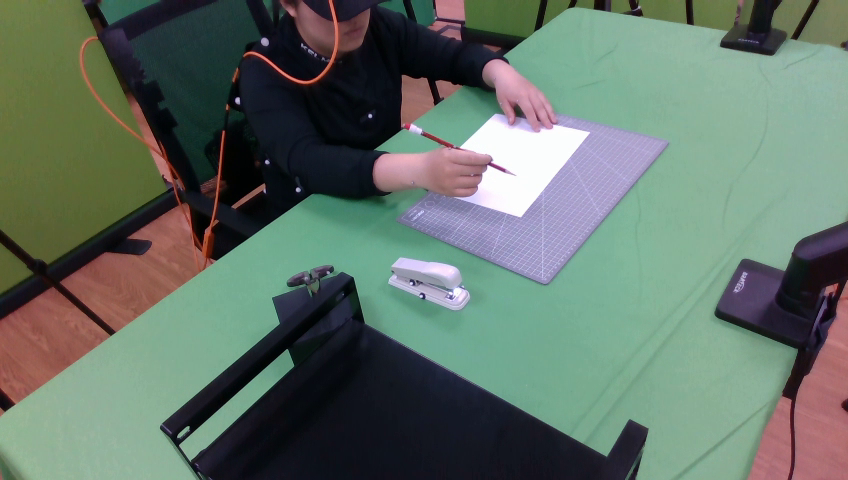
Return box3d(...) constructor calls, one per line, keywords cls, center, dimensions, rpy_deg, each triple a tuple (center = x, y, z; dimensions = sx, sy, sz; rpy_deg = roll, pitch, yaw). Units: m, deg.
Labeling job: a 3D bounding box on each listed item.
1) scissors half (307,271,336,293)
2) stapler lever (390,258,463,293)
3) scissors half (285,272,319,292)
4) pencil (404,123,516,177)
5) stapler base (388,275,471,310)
box3d(cls="scissors half", center=(-0.152, 0.061, 0.872), dimensions=(0.040, 0.013, 0.175), rpy_deg=(-3, 6, -4))
box3d(cls="stapler lever", center=(0.002, 0.046, 0.881), dimensions=(0.117, 0.040, 0.027), rpy_deg=(17, 43, 29))
box3d(cls="scissors half", center=(-0.171, 0.063, 0.868), dimensions=(0.040, 0.013, 0.174), rpy_deg=(-10, 7, -21))
box3d(cls="pencil", center=(0.058, -0.140, 0.949), dimensions=(0.194, 0.012, 0.012), rpy_deg=(24, 44, -4))
box3d(cls="stapler base", center=(0.007, 0.066, 0.897), dimensions=(0.129, 0.024, 0.041), rpy_deg=(17, 43, 29))
